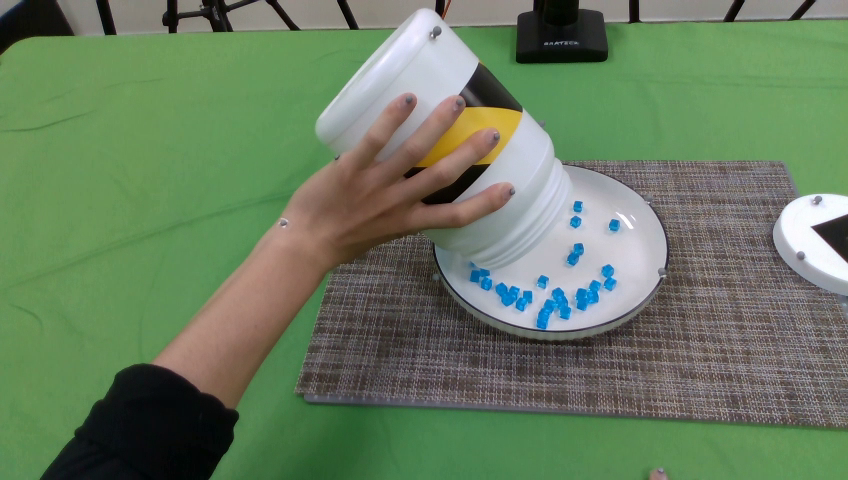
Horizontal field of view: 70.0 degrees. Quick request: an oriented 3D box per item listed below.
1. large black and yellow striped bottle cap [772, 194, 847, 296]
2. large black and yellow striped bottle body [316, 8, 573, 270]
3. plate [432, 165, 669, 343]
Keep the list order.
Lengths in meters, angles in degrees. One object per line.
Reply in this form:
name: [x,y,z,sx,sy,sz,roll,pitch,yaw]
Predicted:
large black and yellow striped bottle cap: [0.378,0.002,0.545,0.115,0.019,0.114,-1,48,1]
large black and yellow striped bottle body: [0.021,-0.074,0.490,0.131,0.185,0.129,-42,19,18]
plate: [0.112,0.010,0.553,0.207,0.039,0.205,-3,47,4]
